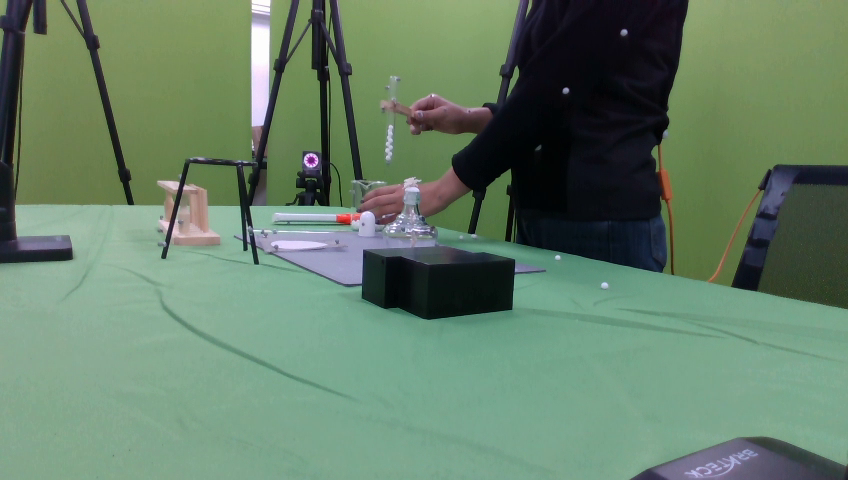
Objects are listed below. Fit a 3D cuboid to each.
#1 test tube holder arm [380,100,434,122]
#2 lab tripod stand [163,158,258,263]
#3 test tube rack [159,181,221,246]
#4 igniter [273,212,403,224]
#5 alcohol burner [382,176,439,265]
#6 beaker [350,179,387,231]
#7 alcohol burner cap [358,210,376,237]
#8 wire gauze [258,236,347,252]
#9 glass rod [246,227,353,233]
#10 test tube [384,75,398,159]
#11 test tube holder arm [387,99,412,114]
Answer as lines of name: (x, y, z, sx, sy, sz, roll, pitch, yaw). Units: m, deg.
test tube holder arm: (-0.028, -0.242, 1.140, 0.013, 0.015, 0.179, 6, 4, 29)
lab tripod stand: (-0.265, -0.041, 0.802, 0.148, 0.131, 0.148, 4, 7, 0)
test tube rack: (-0.395, -0.050, 1.010, 0.067, 0.085, 0.241, -2, 8, -28)
igniter: (-0.179, -0.048, 1.290, 0.278, 0.025, 0.057, -1, -2, -24)
alcohol burner: (-0.018, -0.027, 0.818, 0.078, 0.119, 0.078, 3, 10, 0)
beaker: (-0.111, -0.070, 1.204, 0.074, 0.100, 0.084, 2, 8, 0)
alcohol burner cap: (-0.104, -0.030, 1.098, 0.034, 0.048, 0.034, 3, 7, 0)
wire gauze: (-0.189, 0.005, 0.931, 0.122, 0.011, 0.124, 1, 7, -21)
glass rod: (-0.224, -0.017, 1.109, 0.201, 0.008, 0.008, 1, 7, -27)
test tube: (-0.059, -0.219, 1.079, 0.017, 0.150, 0.017, 4, 1, 0)
test tube holder arm: (-0.044, -0.241, 1.097, 0.010, 0.015, 0.088, 5, 4, 22)
